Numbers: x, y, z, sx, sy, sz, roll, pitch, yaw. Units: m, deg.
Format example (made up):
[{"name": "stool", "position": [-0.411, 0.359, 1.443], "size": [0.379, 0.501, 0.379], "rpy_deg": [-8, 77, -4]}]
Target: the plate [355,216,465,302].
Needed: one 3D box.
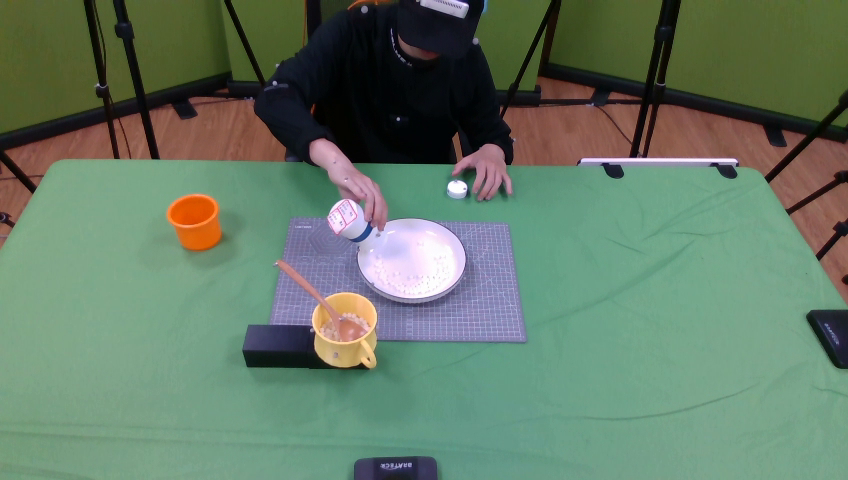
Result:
[{"name": "plate", "position": [-0.027, 0.039, 1.144], "size": [0.208, 0.039, 0.206], "rpy_deg": [2, 46, -2]}]

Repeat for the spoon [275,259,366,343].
[{"name": "spoon", "position": [-0.161, 0.098, 0.946], "size": [0.194, 0.021, 0.041], "rpy_deg": [48, 56, -5]}]

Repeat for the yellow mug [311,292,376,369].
[{"name": "yellow mug", "position": [-0.115, 0.150, 0.945], "size": [0.100, 0.064, 0.130], "rpy_deg": [-29, 57, -28]}]

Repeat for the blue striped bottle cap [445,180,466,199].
[{"name": "blue striped bottle cap", "position": [0.069, -0.109, 1.313], "size": [0.044, 0.021, 0.044], "rpy_deg": [4, 43, -3]}]

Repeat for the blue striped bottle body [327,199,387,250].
[{"name": "blue striped bottle body", "position": [-0.115, -0.023, 1.093], "size": [0.063, 0.121, 0.063], "rpy_deg": [-13, 63, 27]}]
